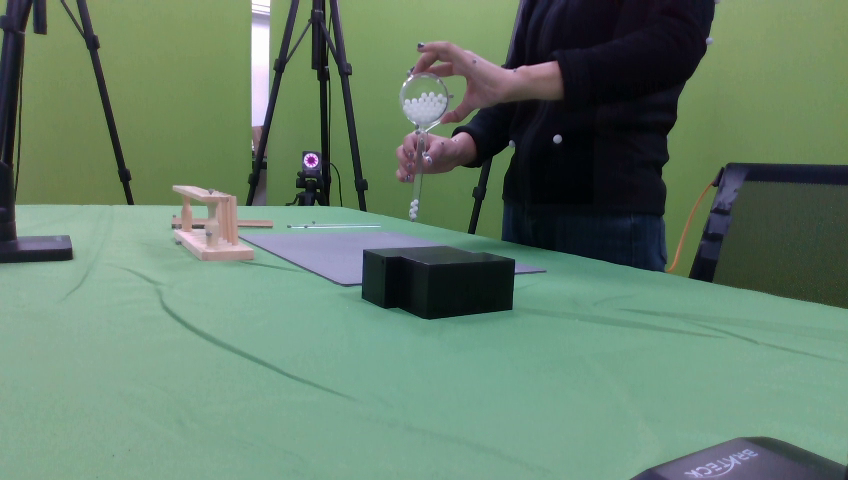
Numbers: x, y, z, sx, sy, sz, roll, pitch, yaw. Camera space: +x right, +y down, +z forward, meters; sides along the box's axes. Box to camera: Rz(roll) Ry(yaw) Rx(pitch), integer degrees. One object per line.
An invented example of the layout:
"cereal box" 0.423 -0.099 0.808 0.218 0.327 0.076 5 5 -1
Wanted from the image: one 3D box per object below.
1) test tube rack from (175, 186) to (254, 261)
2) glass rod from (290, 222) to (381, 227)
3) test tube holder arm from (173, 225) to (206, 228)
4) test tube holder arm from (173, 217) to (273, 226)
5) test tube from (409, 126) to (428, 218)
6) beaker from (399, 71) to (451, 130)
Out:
"test tube rack" -0.314 -0.031 0.889 0.067 0.085 0.241 -2 8 -30
"glass rod" -0.178 -0.033 1.247 0.201 0.008 0.008 -2 8 -30
"test tube holder arm" -0.415 -0.030 1.113 0.088 0.015 0.010 -1 -21 -25
"test tube holder arm" -0.371 -0.033 1.128 0.179 0.015 0.013 -1 -22 -25
"test tube" -0.009 -0.106 0.960 0.017 0.150 0.017 6 23 -2
"beaker" 0.001 -0.203 0.879 0.074 0.084 0.100 6 9 1
